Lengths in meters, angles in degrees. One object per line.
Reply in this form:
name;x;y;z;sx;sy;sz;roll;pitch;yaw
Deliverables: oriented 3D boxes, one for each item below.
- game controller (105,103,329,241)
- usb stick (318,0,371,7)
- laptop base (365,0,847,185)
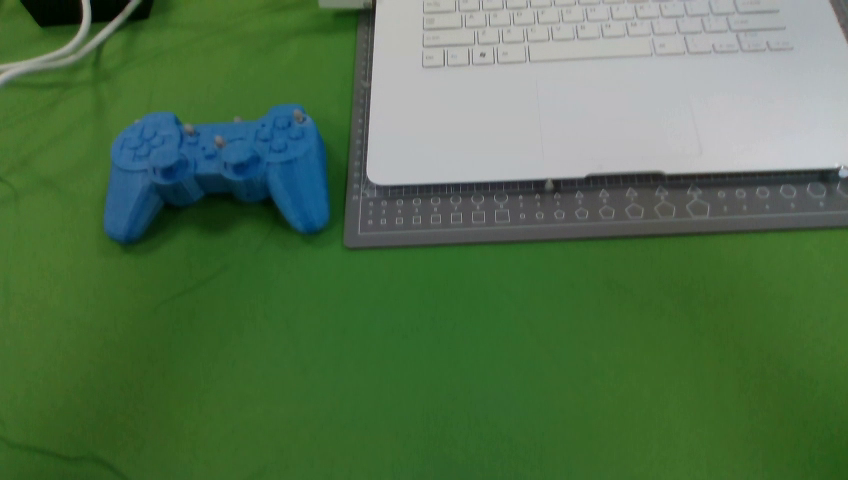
game controller;-0.143;-0.052;0.422;0.155;0.052;0.096;-2;57;3
usb stick;-0.059;-0.209;0.498;0.059;0.027;0.021;-1;60;-5
laptop base;0.135;-0.144;0.464;0.354;0.023;0.233;-2;65;4
